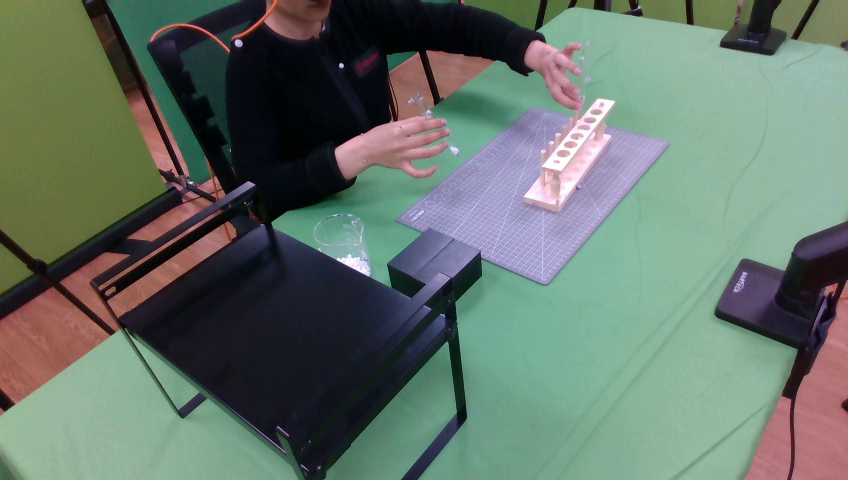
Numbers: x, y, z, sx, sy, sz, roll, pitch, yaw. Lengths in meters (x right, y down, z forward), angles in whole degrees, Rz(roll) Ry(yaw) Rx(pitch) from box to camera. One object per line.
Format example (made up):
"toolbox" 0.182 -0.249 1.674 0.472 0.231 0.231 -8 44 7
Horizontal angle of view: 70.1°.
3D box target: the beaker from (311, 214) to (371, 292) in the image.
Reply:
"beaker" -0.118 0.022 0.908 0.083 0.101 0.074 26 51 32

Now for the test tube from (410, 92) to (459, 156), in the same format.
"test tube" 0.021 -0.194 1.026 0.017 0.151 0.017 -20 47 23

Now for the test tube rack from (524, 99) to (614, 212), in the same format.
"test tube rack" 0.259 -0.158 1.069 0.066 0.085 0.243 18 47 28

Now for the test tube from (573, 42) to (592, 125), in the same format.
"test tube" 0.279 -0.274 1.067 0.017 0.151 0.017 0 34 1
